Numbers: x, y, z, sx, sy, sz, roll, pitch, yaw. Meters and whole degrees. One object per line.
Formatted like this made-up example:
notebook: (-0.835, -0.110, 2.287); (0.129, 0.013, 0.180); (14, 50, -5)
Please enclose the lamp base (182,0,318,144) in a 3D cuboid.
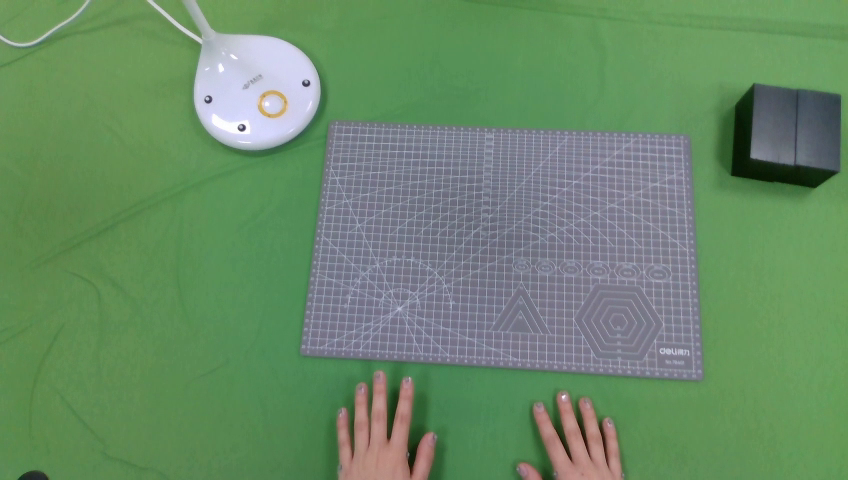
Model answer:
lamp base: (-0.230, -0.225, 0.704); (0.178, 0.181, 0.160); (36, 78, 15)
